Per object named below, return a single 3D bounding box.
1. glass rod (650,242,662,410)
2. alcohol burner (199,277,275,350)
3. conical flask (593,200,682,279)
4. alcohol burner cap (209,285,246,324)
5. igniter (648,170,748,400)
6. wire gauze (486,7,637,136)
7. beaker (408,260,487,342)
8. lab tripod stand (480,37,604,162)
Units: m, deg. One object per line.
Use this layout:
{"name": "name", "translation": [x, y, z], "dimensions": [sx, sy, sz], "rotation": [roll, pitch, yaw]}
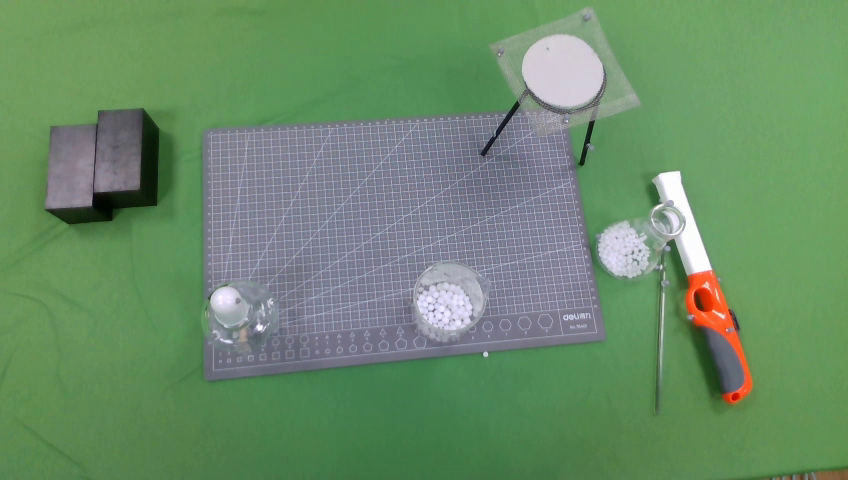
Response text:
{"name": "glass rod", "translation": [0.270, 0.096, 0.705], "dimensions": [0.008, 0.008, 0.198], "rotation": [9, 73, -1]}
{"name": "alcohol burner", "translation": [-0.195, 0.072, 0.624], "dimensions": [0.078, 0.119, 0.077], "rotation": [2, 72, -5]}
{"name": "conical flask", "translation": [0.242, -0.005, 0.673], "dimensions": [0.075, 0.122, 0.075], "rotation": [1, 74, -3]}
{"name": "alcohol burner cap", "translation": [-0.193, 0.060, 0.590], "dimensions": [0.034, 0.048, 0.033], "rotation": [4, 65, -8]}
{"name": "igniter", "translation": [0.321, 0.047, 0.712], "dimensions": [0.057, 0.025, 0.275], "rotation": [-9, 75, -17]}
{"name": "wire gauze", "translation": [0.145, -0.178, 0.638], "dimensions": [0.125, 0.011, 0.121], "rotation": [-20, 78, -9]}
{"name": "beaker", "translation": [0.023, 0.068, 0.647], "dimensions": [0.084, 0.100, 0.073], "rotation": [-23, 77, -10]}
{"name": "lab tripod stand", "translation": [0.140, -0.155, 0.701], "dimensions": [0.148, 0.132, 0.147], "rotation": [1, 75, -4]}
